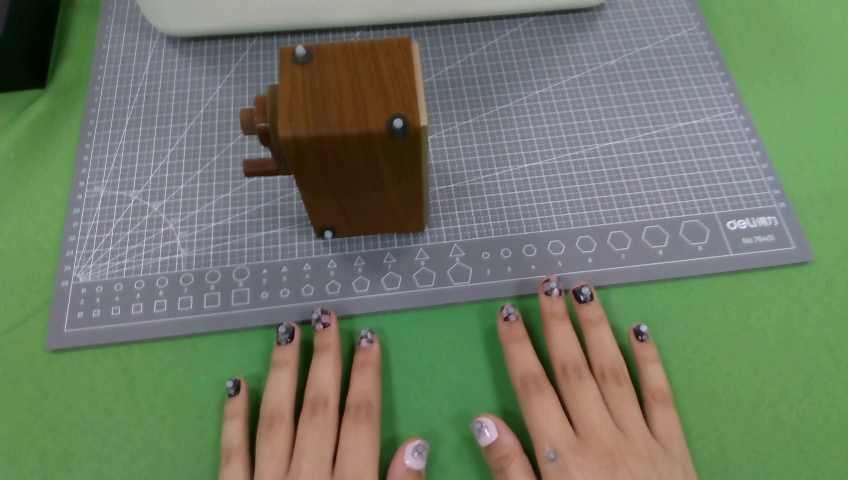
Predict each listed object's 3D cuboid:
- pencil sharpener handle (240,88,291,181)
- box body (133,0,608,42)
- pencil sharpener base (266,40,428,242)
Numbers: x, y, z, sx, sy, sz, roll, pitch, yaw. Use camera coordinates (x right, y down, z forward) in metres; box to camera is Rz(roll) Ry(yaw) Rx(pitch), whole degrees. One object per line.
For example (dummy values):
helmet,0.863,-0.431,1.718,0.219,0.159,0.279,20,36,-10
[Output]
pencil sharpener handle,-0.089,-0.051,0.323,0.030,0.068,0.035,-5,65,-2
box body,-0.038,-0.292,0.433,0.364,0.161,0.252,-6,62,-3
pencil sharpener base,-0.038,-0.049,0.336,0.077,0.108,0.061,-5,63,-2
